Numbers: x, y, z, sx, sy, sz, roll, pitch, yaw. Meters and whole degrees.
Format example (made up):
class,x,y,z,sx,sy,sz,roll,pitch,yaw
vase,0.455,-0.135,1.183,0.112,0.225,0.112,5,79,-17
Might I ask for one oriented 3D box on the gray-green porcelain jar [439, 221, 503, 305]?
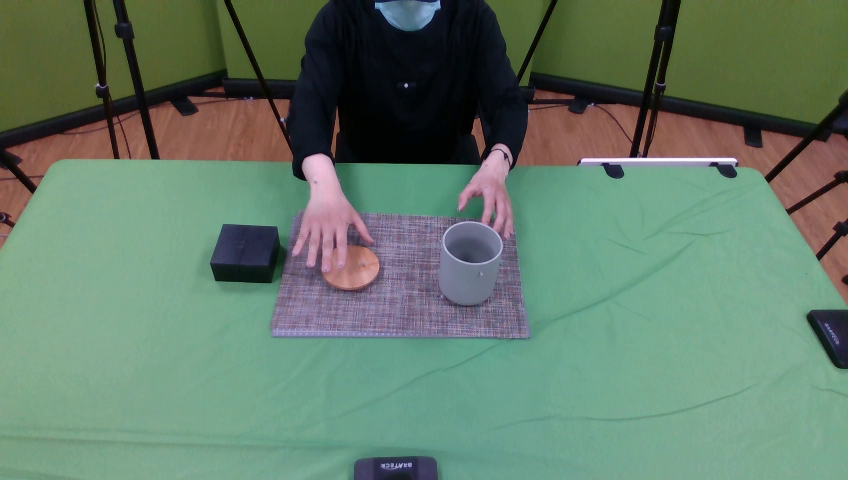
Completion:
class,x,y,z,sx,sy,sz,roll,pitch,yaw
gray-green porcelain jar,0.080,0.046,1.078,0.106,0.127,0.105,2,46,-2

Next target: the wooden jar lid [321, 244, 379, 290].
class,x,y,z,sx,sy,sz,roll,pitch,yaw
wooden jar lid,-0.137,0.053,1.131,0.108,0.021,0.107,1,46,-1
